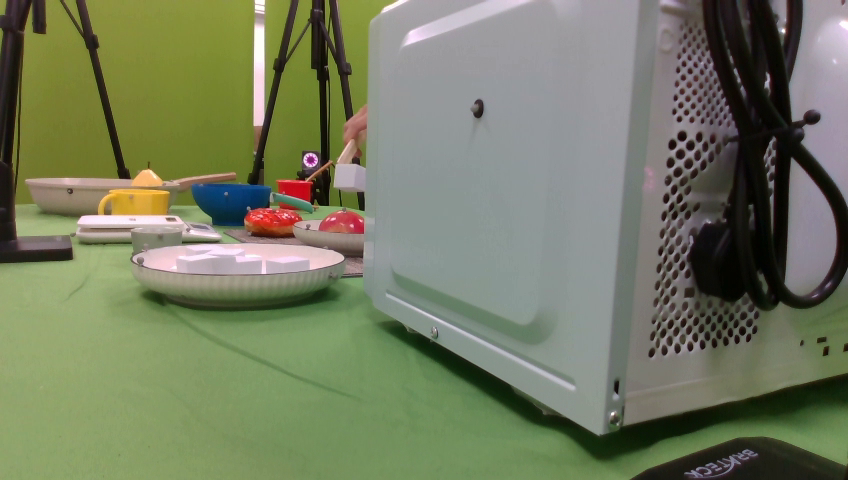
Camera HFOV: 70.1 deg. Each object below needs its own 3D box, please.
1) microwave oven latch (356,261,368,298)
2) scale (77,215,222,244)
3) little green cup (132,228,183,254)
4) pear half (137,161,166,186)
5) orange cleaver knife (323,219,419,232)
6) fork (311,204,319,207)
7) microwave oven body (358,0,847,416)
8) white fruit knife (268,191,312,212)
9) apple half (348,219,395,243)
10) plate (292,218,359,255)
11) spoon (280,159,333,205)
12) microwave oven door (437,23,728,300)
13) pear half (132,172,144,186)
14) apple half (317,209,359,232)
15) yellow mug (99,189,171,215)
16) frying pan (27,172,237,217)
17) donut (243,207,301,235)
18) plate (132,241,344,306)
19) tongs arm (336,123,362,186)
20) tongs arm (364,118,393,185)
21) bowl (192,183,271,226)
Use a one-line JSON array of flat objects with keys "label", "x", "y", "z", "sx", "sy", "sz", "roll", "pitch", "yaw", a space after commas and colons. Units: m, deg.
[{"label": "microwave oven latch", "x": -0.019, "y": 0.033, "z": 0.530, "sx": 0.079, "sy": 0.029, "sz": 0.030, "roll": 0, "pitch": 7, "yaw": -26}, {"label": "scale", "x": -0.434, "y": -0.019, "z": 0.963, "sx": 0.202, "sy": 0.031, "sz": 0.148, "roll": -1, "pitch": 9, "yaw": -27}, {"label": "little green cup", "x": -0.342, "y": 0.006, "z": 0.779, "sx": 0.061, "sy": 0.038, "sz": 0.061, "roll": 2, "pitch": 8, "yaw": 0}, {"label": "pear half", "x": -0.602, "y": -0.120, "z": 1.354, "sx": 0.056, "sy": 0.110, "sz": 0.076, "roll": 4, "pitch": 11, "yaw": 6}, {"label": "orange cleaver knife", "x": -0.096, "y": -0.027, "z": 1.152, "sx": 0.077, "sy": 0.012, "sz": 0.212, "roll": 2, "pitch": 7, "yaw": 41}, {"label": "fork", "x": -0.356, "y": -0.105, "z": 1.526, "sx": 0.208, "sy": 0.018, "sz": 0.028, "roll": 16, "pitch": -5, "yaw": -41}, {"label": "microwave oven body", "x": 0.211, "y": -0.047, "z": 0.475, "sx": 0.444, "sy": 0.260, "sz": 0.324, "roll": -1, "pitch": 7, "yaw": -28}, {"label": "white fruit knife", "x": -0.364, "y": -0.105, "z": 1.464, "sx": 0.208, "sy": 0.027, "sz": 0.016, "roll": 15, "pitch": 0, "yaw": -34}, {"label": "apple half", "x": -0.083, "y": -0.018, "z": 0.966, "sx": 0.081, "sy": 0.033, "sz": 0.081, "roll": 6, "pitch": 10, "yaw": -1}, {"label": "plate", "x": -0.098, "y": -0.007, "z": 0.928, "sx": 0.209, "sy": 0.038, "sz": 0.209, "roll": 2, "pitch": 8, "yaw": 0}, {"label": "spoon", "x": -0.316, "y": -0.159, "z": 1.640, "sx": 0.194, "sy": 0.022, "sz": 0.041, "roll": -49, "pitch": 32, "yaw": -20}, {"label": "microwave oven door", "x": 0.181, "y": -0.072, "z": 0.621, "sx": 0.358, "sy": 0.243, "sz": 0.039, "roll": -2, "pitch": 8, "yaw": -29}, {"label": "pear half", "x": -0.638, "y": -0.113, "z": 1.361, "sx": 0.031, "sy": 0.088, "sz": 0.070, "roll": 5, "pitch": 11, "yaw": 4}, {"label": "apple half", "x": -0.122, "y": -0.020, "z": 0.900, "sx": 0.080, "sy": 0.053, "sz": 0.075, "roll": 4, "pitch": 10, "yaw": 15}, {"label": "yellow mug", "x": -0.519, "y": -0.055, "z": 1.080, "sx": 0.099, "sy": 0.064, "sz": 0.131, "roll": 7, "pitch": 9, "yaw": 26}, {"label": "frying pan", "x": -0.624, "y": -0.118, "z": 1.387, "sx": 0.305, "sy": 0.102, "sz": 0.490, "roll": 8, "pitch": 17, "yaw": 32}, {"label": "donut", "x": -0.261, "y": -0.032, "z": 1.043, "sx": 0.099, "sy": 0.048, "sz": 0.099, "roll": 4, "pitch": 9, "yaw": 0}, {"label": "plate", "x": -0.187, "y": 0.033, "z": 0.625, "sx": 0.208, "sy": 0.039, "sz": 0.207, "roll": 2, "pitch": 7, "yaw": 0}, {"label": "tongs arm", "x": -0.105, "y": -0.149, "z": 0.962, "sx": 0.028, "sy": 0.028, "sz": 0.387, "roll": -6, "pitch": 20, "yaw": 3}, {"label": "tongs arm", "x": -0.081, "y": -0.150, "z": 0.962, "sx": 0.051, "sy": 0.026, "sz": 0.384, "roll": -1, "pitch": 20, "yaw": 6}, {"label": "bowl", "x": -0.382, "y": -0.071, "z": 1.202, "sx": 0.151, "sy": 0.077, "sz": 0.151, "roll": 3, "pitch": 7, "yaw": 0}]
